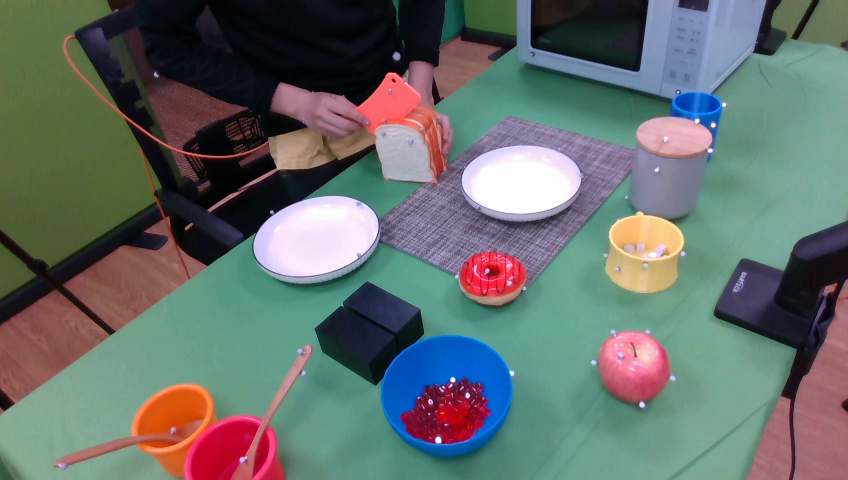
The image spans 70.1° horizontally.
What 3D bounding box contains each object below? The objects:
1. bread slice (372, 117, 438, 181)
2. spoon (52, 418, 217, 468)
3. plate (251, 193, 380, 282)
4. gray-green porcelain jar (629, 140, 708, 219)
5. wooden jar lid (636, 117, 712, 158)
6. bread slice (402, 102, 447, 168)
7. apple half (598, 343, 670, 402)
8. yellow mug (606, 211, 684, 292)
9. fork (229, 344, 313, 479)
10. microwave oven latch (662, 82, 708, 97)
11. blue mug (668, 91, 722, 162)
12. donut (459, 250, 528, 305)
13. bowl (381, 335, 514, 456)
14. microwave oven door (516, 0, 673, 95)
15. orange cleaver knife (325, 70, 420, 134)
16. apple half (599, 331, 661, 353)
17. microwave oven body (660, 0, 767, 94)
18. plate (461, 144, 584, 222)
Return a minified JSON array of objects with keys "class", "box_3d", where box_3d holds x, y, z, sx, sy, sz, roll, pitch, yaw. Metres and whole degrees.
[{"class":"bread slice","box_3d":[-0.039,-0.160,1.077,0.106,0.135,0.018,2,49,19]},{"class":"spoon","box_3d":[-0.308,0.220,0.663,0.041,0.195,0.021,21,93,29]},{"class":"plate","box_3d":[-0.173,-0.001,0.984,0.209,0.038,0.208,-4,40,4]},{"class":"gray-green porcelain jar","box_3d":[0.383,-0.105,0.958,0.106,0.127,0.105,-4,41,4]},{"class":"wooden jar lid","box_3d":[0.377,-0.151,0.917,0.108,0.021,0.108,-2,42,3]},{"class":"bread slice","box_3d":[-0.012,-0.193,1.112,0.104,0.132,0.019,8,43,19]},{"class":"apple half","box_3d":[0.247,0.161,0.710,0.081,0.075,0.053,2,47,5]},{"class":"yellow mug","box_3d":[0.318,0.008,0.883,0.100,0.064,0.130,0,41,9]},{"class":"fork","box_3d":[-0.173,0.205,0.662,0.028,0.019,0.207,29,94,36]},{"class":"microwave oven latch","box_3d":[0.517,-0.298,1.203,0.078,0.029,0.030,28,53,35]},{"class":"blue mug","box_3d":[0.475,-0.207,1.079,0.082,0.106,0.116,4,42,13]},{"class":"donut","box_3d":[0.100,0.053,0.872,0.099,0.048,0.098,-5,40,4]},{"class":"bowl","box_3d":[0.029,0.192,0.701,0.151,0.077,0.150,-4,40,4]},{"class":"microwave oven door","box_3d":[0.344,-0.458,1.256,0.353,0.245,0.039,26,51,33]},{"class":"orange cleaver knife","box_3d":[-0.093,-0.221,1.055,0.210,0.077,0.012,-25,20,40]},{"class":"apple half","box_3d":[0.249,0.134,0.738,0.081,0.081,0.032,-1,46,7]},{"class":"microwave oven body","box_3d":[0.473,-0.517,1.314,0.438,0.261,0.327,26,51,34]},{"class":"plate","box_3d":[0.168,-0.095,1.040,0.207,0.039,0.206,-4,40,4]}]
